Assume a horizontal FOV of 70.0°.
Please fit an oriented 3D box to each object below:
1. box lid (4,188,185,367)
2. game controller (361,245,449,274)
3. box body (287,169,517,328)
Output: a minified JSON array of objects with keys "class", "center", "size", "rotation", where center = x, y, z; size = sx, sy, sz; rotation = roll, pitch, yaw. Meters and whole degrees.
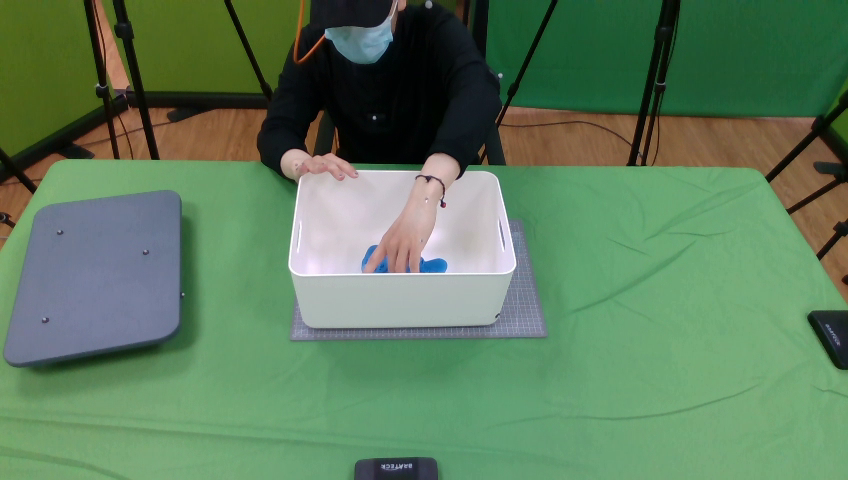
[{"class":"box lid","center":[-0.558,0.048,1.060],"size":[0.264,0.015,0.369],"rotation":[-10,48,-12]},{"class":"game controller","center":[-0.039,0.050,1.097],"size":[0.155,0.052,0.096],"rotation":[11,51,10]},{"class":"box body","center":[-0.040,0.015,1.075],"size":[0.364,0.161,0.252],"rotation":[-1,47,-4]}]
